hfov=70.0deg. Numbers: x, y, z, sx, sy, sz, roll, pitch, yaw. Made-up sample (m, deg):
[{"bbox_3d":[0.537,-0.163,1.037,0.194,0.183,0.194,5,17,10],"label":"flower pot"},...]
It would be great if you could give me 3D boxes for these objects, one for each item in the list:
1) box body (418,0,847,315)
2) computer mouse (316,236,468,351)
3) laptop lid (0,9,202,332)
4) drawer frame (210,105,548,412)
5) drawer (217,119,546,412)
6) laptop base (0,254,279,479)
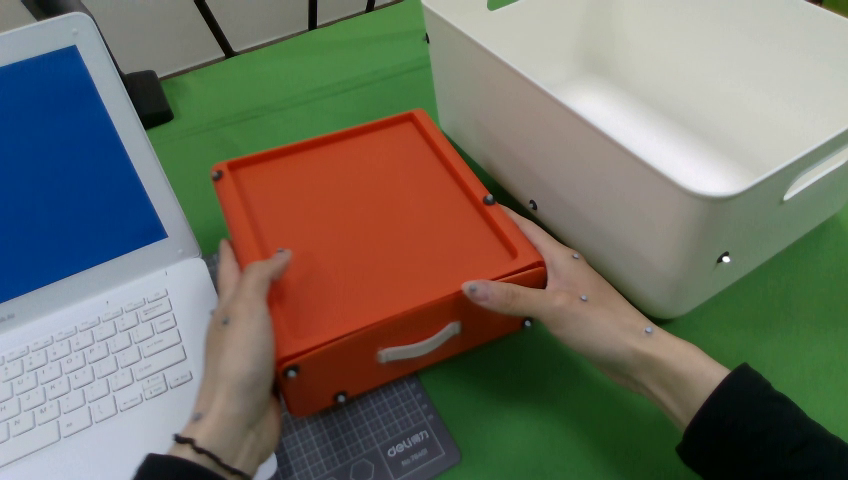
[{"bbox_3d":[0.193,-0.132,0.568,0.254,0.162,0.360,-28,51,-18],"label":"box body"},{"bbox_3d":[-0.027,0.038,0.468,0.117,0.041,0.062,-22,54,-4],"label":"computer mouse"},{"bbox_3d":[-0.397,-0.020,0.489,0.357,0.243,0.013,-25,21,-14],"label":"laptop lid"},{"bbox_3d":[-0.045,0.001,0.489,0.202,0.083,0.211,-20,50,-16],"label":"drawer frame"},{"bbox_3d":[-0.042,0.005,0.487,0.195,0.074,0.209,-20,50,-16],"label":"drawer"},{"bbox_3d":[-0.308,0.158,0.459,0.355,0.023,0.233,-24,54,-15],"label":"laptop base"}]
